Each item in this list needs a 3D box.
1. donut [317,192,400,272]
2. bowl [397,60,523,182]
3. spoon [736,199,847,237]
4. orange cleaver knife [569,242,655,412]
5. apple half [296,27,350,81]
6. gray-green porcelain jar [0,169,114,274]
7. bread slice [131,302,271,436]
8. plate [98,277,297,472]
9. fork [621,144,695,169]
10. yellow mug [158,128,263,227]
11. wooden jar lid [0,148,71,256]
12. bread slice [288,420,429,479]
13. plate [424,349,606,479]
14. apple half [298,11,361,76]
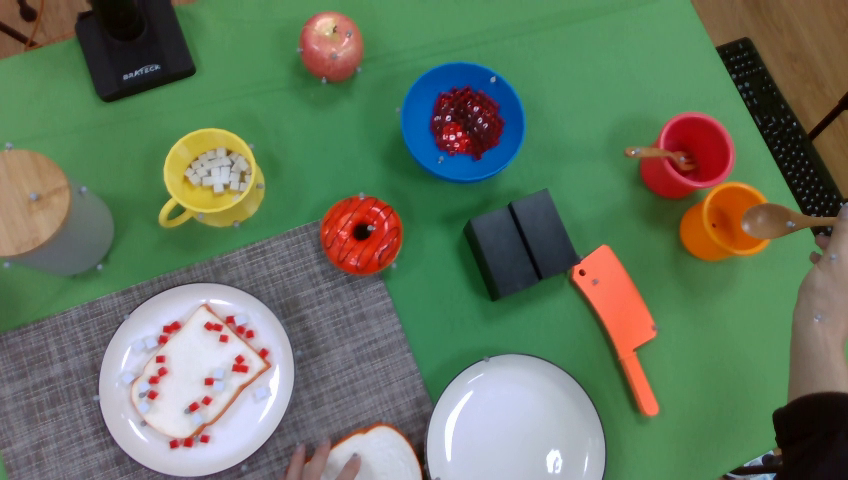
[{"bbox_3d":[-0.078,-0.010,0.721,0.099,0.048,0.098,1,78,-6],"label":"donut"},{"bbox_3d":[0.040,-0.135,0.748,0.151,0.077,0.150,1,78,-6],"label":"bowl"},{"bbox_3d":[0.396,-0.019,0.590,0.022,0.192,0.041,17,86,-24],"label":"spoon"},{"bbox_3d":[0.248,0.104,0.748,0.077,0.012,0.210,-19,79,-17],"label":"orange cleaver knife"},{"bbox_3d":[-0.131,-0.219,0.748,0.081,0.081,0.032,34,71,3],"label":"apple half"},{"bbox_3d":[-0.405,-0.021,0.650,0.106,0.127,0.105,1,77,-6],"label":"gray-green porcelain jar"},{"bbox_3d":[-0.253,0.150,0.671,0.105,0.019,0.131,41,77,3],"label":"bread slice"},{"bbox_3d":[-0.245,0.146,0.672,0.208,0.039,0.206,1,78,-6],"label":"plate"},{"bbox_3d":[0.286,-0.103,0.733,0.208,0.018,0.028,-3,74,-50],"label":"fork"},{"bbox_3d":[-0.256,-0.062,0.706,0.100,0.064,0.130,44,78,4],"label":"yellow mug"},{"bbox_3d":[-0.399,-0.036,0.590,0.108,0.021,0.108,1,76,-5],"label":"wooden jar lid"},{"bbox_3d":[-0.059,0.258,0.644,0.134,0.018,0.106,-25,77,-31],"label":"bread slice"},{"bbox_3d":[0.102,0.231,0.695,0.209,0.038,0.208,1,78,-5],"label":"plate"},{"bbox_3d":[-0.111,-0.250,0.759,0.080,0.075,0.053,34,70,6],"label":"apple half"}]
